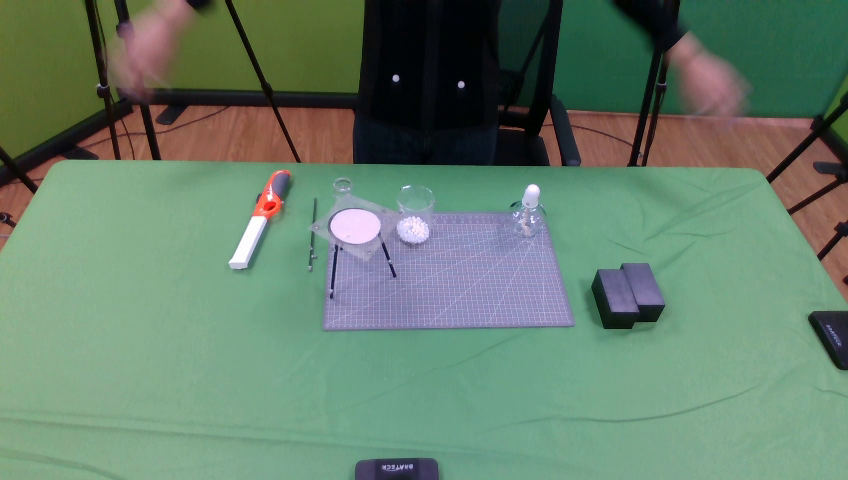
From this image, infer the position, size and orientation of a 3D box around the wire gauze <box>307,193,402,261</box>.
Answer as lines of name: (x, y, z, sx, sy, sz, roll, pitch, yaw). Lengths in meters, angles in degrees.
wire gauze: (-0.119, -0.028, 1.043, 0.125, 0.011, 0.121, 24, 47, 17)

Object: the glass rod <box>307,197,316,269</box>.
glass rod: (-0.224, -0.018, 1.210, 0.008, 0.008, 0.198, -1, 46, -5)

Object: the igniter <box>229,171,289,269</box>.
igniter: (-0.328, -0.049, 1.218, 0.057, 0.025, 0.275, 1, 45, 11)

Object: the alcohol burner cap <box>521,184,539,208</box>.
alcohol burner cap: (0.210, -0.087, 1.184, 0.034, 0.048, 0.033, 0, 52, 0)

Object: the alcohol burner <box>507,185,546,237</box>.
alcohol burner: (0.208, -0.063, 1.210, 0.078, 0.119, 0.077, 3, 44, -3)

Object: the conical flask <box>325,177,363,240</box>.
conical flask: (-0.158, -0.064, 1.176, 0.075, 0.122, 0.075, 2, 46, -2)

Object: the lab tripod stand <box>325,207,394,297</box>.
lab tripod stand: (-0.124, 0.017, 1.092, 0.148, 0.132, 0.147, 3, 44, -3)

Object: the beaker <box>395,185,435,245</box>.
beaker: (-0.022, -0.048, 1.187, 0.074, 0.101, 0.083, -28, 53, -28)
